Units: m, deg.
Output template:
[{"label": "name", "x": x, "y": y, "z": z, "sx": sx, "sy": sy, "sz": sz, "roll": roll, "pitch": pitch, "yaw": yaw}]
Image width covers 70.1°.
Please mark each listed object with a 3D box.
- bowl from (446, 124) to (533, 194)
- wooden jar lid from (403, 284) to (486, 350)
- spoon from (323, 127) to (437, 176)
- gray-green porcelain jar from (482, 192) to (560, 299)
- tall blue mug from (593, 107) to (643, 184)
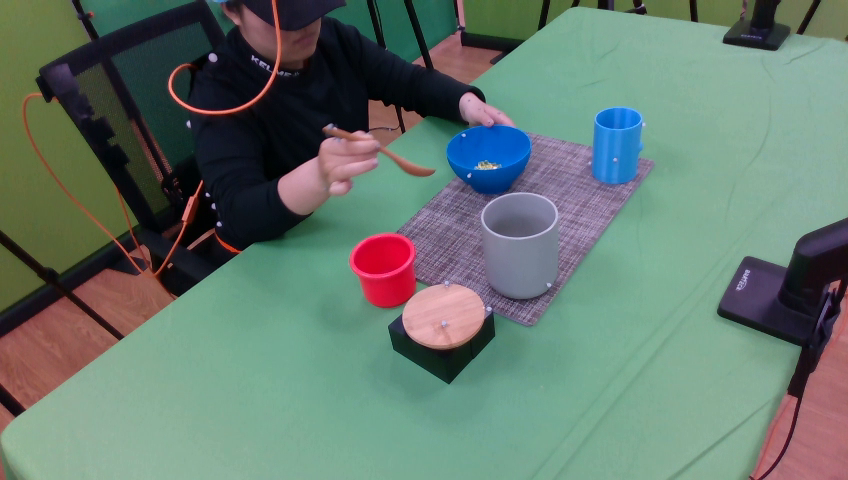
[{"label": "bowl", "x": 0.118, "y": -0.135, "z": 1.075, "sx": 0.151, "sy": 0.077, "sz": 0.150, "roll": -5, "pitch": 40, "yaw": 5}, {"label": "wooden jar lid", "x": 0.027, "y": 0.101, "z": 0.786, "sx": 0.108, "sy": 0.021, "sz": 0.108, "roll": -5, "pitch": 39, "yaw": 4}, {"label": "spoon", "x": -0.059, "y": -0.124, "z": 0.852, "sx": 0.041, "sy": 0.195, "sz": 0.021, "roll": 1, "pitch": 74, "yaw": 51}, {"label": "gray-green porcelain jar", "x": 0.139, "y": 0.012, "z": 0.858, "sx": 0.106, "sy": 0.127, "sz": 0.105, "roll": -6, "pitch": 40, "yaw": 5}, {"label": "tall blue mug", "x": 0.330, "y": -0.172, "z": 1.052, "sx": 0.078, "sy": 0.108, "sz": 0.106, "roll": -12, "pitch": 40, "yaw": 0}]
